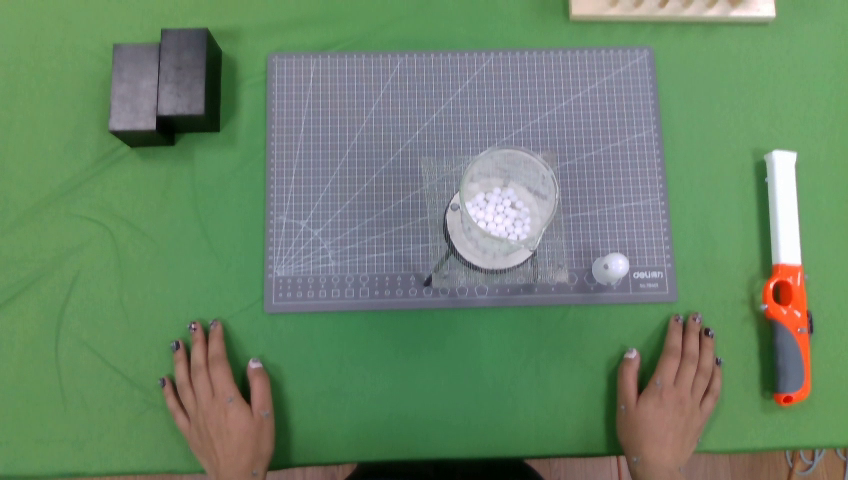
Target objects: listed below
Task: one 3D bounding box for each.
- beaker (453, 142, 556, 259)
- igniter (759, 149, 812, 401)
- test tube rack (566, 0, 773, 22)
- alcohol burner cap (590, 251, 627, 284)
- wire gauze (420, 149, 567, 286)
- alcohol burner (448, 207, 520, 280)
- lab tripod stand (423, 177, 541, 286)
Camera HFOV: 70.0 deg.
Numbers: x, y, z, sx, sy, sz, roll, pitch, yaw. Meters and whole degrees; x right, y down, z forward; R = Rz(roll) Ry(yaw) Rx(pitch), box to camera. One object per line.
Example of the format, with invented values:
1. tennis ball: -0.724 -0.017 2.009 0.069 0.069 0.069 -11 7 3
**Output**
1. beaker: 0.063 -0.023 0.493 0.074 0.100 0.083 -24 80 -4
2. igniter: 0.393 0.035 0.662 0.057 0.025 0.275 4 80 -10
3. test tube rack: 0.292 -0.302 0.690 0.242 0.085 0.066 0 79 -1
4. alcohol burner cap: 0.200 0.028 0.649 0.034 0.048 0.033 0 78 1
5. wire gauze: 0.061 -0.021 0.542 0.125 0.011 0.121 -3 78 1
6. alcohol burner: 0.062 0.000 0.615 0.078 0.119 0.077 0 78 -2
7. lab tripod stand: 0.058 -0.006 0.606 0.148 0.132 0.147 0 79 1
